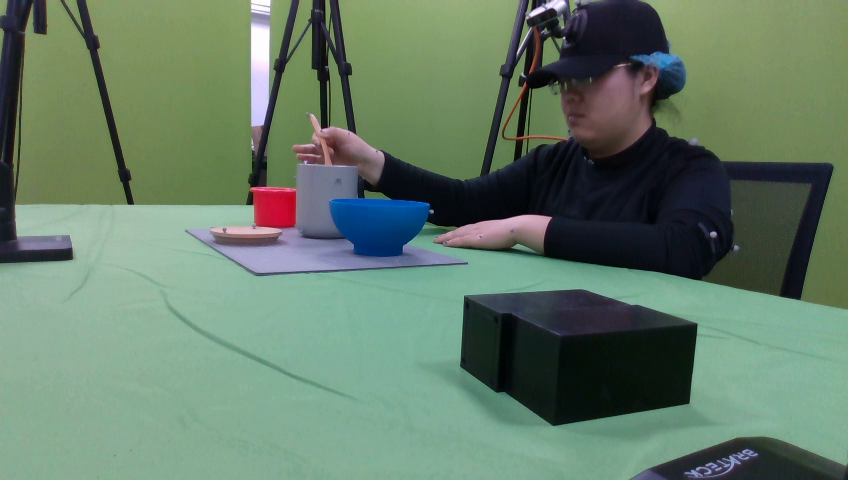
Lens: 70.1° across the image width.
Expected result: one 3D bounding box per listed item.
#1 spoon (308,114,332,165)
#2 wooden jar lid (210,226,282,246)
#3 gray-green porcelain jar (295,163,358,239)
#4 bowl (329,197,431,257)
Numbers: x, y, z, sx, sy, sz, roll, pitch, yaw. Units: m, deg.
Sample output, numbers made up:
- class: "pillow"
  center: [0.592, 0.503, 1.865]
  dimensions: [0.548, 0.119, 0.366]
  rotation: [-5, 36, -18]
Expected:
- class: "spoon"
  center: [-0.176, -0.157, 1.068]
  dimensions: [0.042, 0.193, 0.021]
  rotation: [4, -36, -35]
- class: "wooden jar lid"
  center: [-0.279, -0.007, 0.951]
  dimensions: [0.108, 0.020, 0.108]
  rotation: [2, 8, 0]
- class: "gray-green porcelain jar"
  center: [-0.170, -0.069, 1.054]
  dimensions: [0.106, 0.126, 0.106]
  rotation: [3, 7, 0]
- class: "bowl"
  center: [-0.067, -0.019, 0.895]
  dimensions: [0.151, 0.077, 0.151]
  rotation: [3, 7, 0]
